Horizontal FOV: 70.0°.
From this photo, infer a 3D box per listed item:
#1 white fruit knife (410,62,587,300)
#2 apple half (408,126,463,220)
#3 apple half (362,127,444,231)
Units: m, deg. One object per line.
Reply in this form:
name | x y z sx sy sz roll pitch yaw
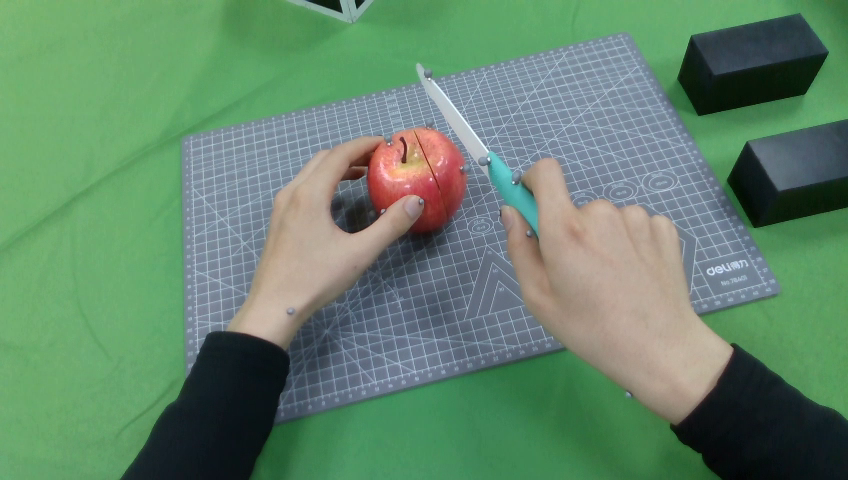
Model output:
white fruit knife | 0.044 -0.048 0.408 0.016 0.027 0.206 -27 69 -20
apple half | 0.015 -0.057 0.491 0.033 0.082 0.080 -22 59 -2
apple half | -0.021 -0.043 0.488 0.053 0.075 0.080 -23 63 -2
